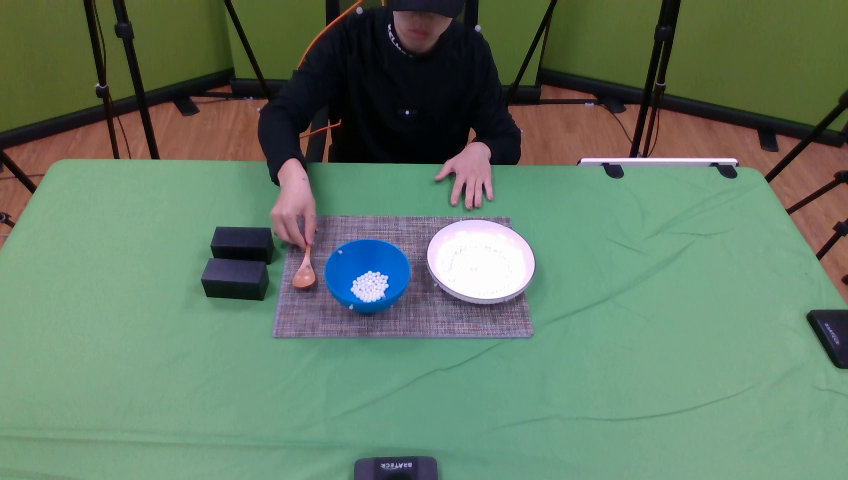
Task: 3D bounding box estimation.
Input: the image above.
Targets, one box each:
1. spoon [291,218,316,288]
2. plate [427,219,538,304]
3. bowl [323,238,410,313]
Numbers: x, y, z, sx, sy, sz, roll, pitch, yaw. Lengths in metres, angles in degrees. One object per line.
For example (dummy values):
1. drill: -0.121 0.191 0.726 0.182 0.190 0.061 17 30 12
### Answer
1. spoon: -0.222 0.021 1.156 0.041 0.022 0.192 -1 47 1
2. plate: 0.109 0.044 1.149 0.208 0.039 0.206 2 46 -2
3. bowl: -0.101 0.077 1.073 0.151 0.077 0.150 2 46 -2
